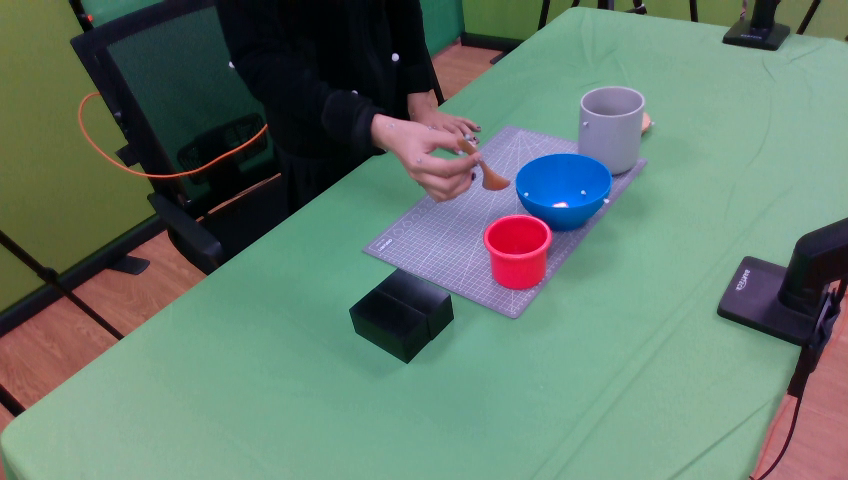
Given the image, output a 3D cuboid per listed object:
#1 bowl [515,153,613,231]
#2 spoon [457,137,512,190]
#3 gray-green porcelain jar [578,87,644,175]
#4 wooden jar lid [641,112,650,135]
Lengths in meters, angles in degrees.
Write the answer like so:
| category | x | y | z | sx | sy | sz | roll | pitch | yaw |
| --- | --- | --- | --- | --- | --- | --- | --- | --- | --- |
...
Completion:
| category | x | y | z | sx | sy | sz | roll | pitch | yaw |
| --- | --- | --- | --- | --- | --- | --- | --- | --- | --- |
| bowl | 0.224 | -0.068 | 0.972 | 0.151 | 0.077 | 0.150 | -5 | 40 | 5 |
| spoon | 0.078 | -0.100 | 0.804 | 0.041 | 0.195 | 0.021 | -9 | 71 | 21 |
| gray-green porcelain jar | 0.324 | -0.185 | 1.055 | 0.106 | 0.127 | 0.105 | -5 | 40 | 5 |
| wooden jar lid | 0.382 | -0.225 | 1.178 | 0.108 | 0.021 | 0.108 | -5 | 40 | 4 |
